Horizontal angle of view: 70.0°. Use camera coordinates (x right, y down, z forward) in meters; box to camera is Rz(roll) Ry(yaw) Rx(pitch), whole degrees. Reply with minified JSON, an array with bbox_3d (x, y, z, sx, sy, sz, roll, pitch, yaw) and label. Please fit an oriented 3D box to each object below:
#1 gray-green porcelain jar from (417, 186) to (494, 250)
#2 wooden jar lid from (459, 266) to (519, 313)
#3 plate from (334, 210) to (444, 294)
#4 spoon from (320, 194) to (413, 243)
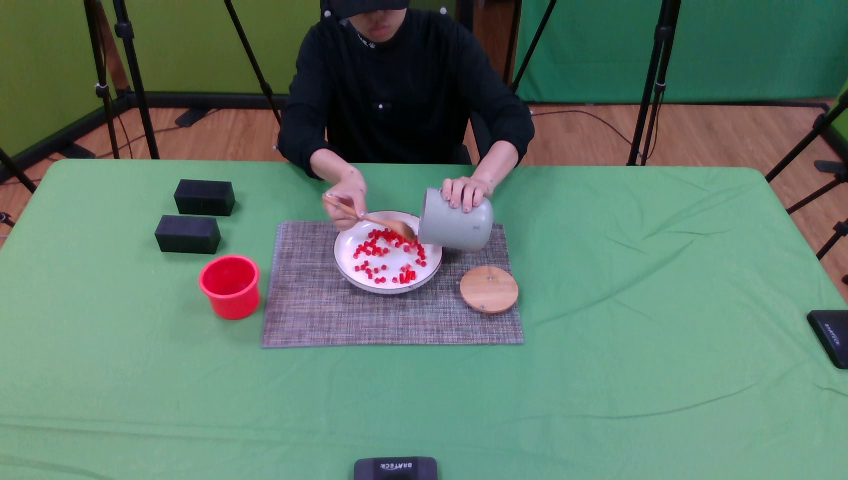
[{"bbox_3d":[0.058,-0.038,1.112,0.126,0.106,0.105,8,46,-5],"label":"gray-green porcelain jar"},{"bbox_3d":[0.118,0.093,1.111,0.108,0.021,0.107,1,47,-1],"label":"wooden jar lid"},{"bbox_3d":[-0.066,0.026,1.150,0.208,0.039,0.206,2,46,-2],"label":"plate"},{"bbox_3d":[-0.101,-0.039,1.100,0.194,0.022,0.041,21,40,-20],"label":"spoon"}]
